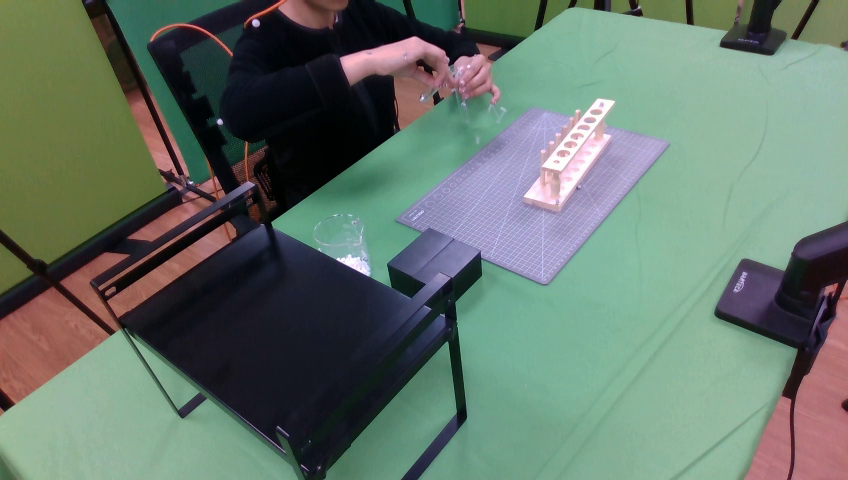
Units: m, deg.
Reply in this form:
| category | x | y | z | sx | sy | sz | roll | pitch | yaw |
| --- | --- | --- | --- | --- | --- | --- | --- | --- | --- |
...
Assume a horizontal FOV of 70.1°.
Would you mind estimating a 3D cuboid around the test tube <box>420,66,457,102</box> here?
| category | x | y | z | sx | sy | sz | roll | pitch | yaw |
| --- | --- | --- | --- | --- | --- | --- | --- | --- | --- |
| test tube | 0.026 | -0.271 | 1.044 | 0.017 | 0.017 | 0.150 | 10 | 36 | 20 |

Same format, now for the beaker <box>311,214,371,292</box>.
| category | x | y | z | sx | sy | sz | roll | pitch | yaw |
| --- | --- | --- | --- | --- | --- | --- | --- | --- | --- |
| beaker | -0.118 | 0.022 | 0.908 | 0.083 | 0.101 | 0.074 | 26 | 51 | 32 |

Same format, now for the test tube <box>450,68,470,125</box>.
| category | x | y | z | sx | sy | sz | roll | pitch | yaw |
| --- | --- | --- | --- | --- | --- | --- | --- | --- | --- |
| test tube | 0.071 | -0.273 | 1.166 | 0.017 | 0.151 | 0.017 | -6 | 60 | 11 |

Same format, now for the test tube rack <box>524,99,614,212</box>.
| category | x | y | z | sx | sy | sz | roll | pitch | yaw |
| --- | --- | --- | --- | --- | --- | --- | --- | --- | --- |
| test tube rack | 0.259 | -0.158 | 1.069 | 0.066 | 0.085 | 0.243 | 19 | 47 | 28 |
